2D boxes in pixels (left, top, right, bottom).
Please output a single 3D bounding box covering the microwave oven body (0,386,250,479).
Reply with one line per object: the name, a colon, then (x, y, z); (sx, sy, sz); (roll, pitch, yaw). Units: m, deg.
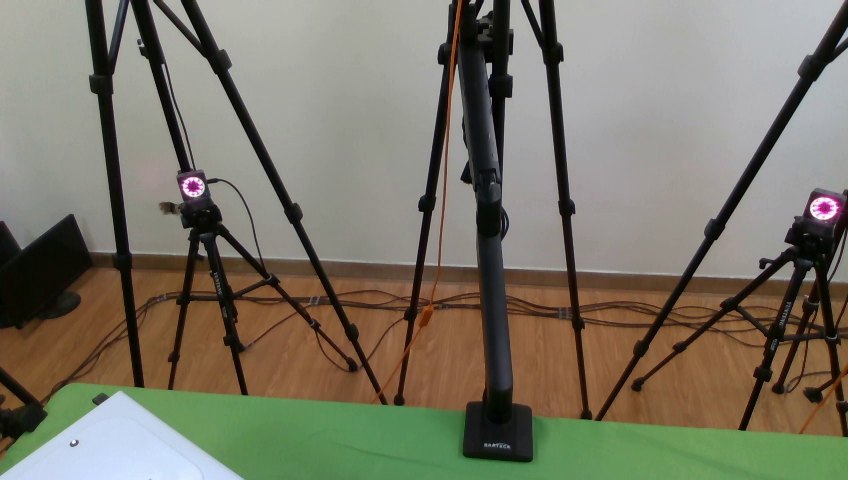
microwave oven body: (-0.436, 0.451, 0.720); (0.323, 0.262, 0.441); (20, 42, 28)
